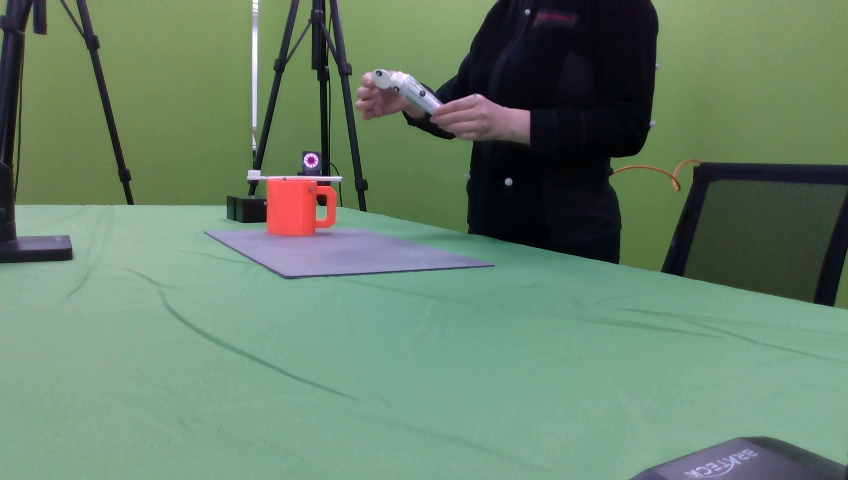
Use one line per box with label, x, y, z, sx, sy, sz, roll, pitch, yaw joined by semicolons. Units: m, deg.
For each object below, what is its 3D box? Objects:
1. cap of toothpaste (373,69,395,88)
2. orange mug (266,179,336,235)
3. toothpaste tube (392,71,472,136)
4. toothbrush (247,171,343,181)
cap of toothpaste;-0.065;-0.263;0.981;0.037;0.037;0.011;4;48;15
orange mug;-0.222;-0.062;1.094;0.127;0.101;0.083;-5;10;-22
toothpaste tube;0.013;-0.227;1.010;0.165;0.034;0.055;33;25;-12
toothbrush;-0.230;-0.115;1.092;0.183;0.016;0.014;-2;5;-35
